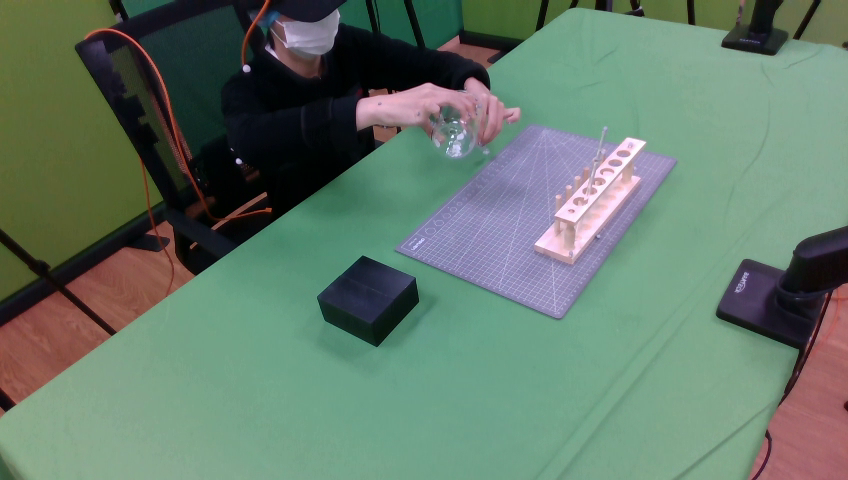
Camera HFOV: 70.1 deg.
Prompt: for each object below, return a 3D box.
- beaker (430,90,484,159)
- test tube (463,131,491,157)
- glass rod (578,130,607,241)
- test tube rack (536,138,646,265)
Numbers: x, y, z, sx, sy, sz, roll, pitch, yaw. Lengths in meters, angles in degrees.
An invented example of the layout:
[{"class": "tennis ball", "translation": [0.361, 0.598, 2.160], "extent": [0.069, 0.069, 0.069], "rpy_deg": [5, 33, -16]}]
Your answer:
[{"class": "beaker", "translation": [0.052, -0.177, 0.951], "extent": [0.073, 0.084, 0.100], "rpy_deg": [-8, 36, 20]}, {"class": "test tube", "translation": [0.096, -0.170, 1.077], "extent": [0.017, 0.017, 0.151], "rpy_deg": [9, -1, 20]}, {"class": "glass rod", "translation": [0.240, -0.071, 0.866], "extent": [0.008, 0.200, 0.008], "rpy_deg": [0, 44, 1]}, {"class": "test tube rack", "translation": [0.268, -0.071, 0.964], "extent": [0.066, 0.085, 0.243], "rpy_deg": [23, 49, 32]}]
